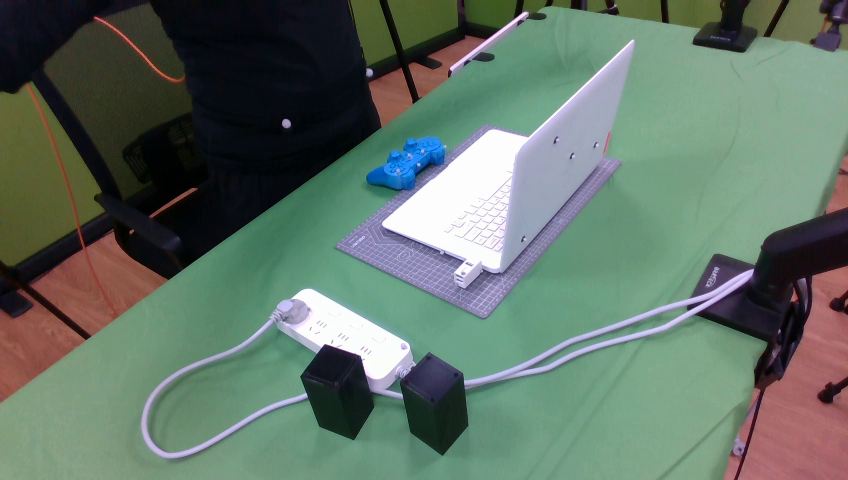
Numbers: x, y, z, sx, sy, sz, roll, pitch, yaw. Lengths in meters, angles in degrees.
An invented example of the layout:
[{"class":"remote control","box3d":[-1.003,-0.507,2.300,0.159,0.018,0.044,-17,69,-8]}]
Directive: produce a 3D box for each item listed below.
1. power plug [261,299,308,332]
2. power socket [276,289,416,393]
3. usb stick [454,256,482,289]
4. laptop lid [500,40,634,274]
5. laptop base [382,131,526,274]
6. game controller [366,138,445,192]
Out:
[{"class":"power plug","box3d":[-0.193,0.109,0.830,0.073,0.053,0.035,-35,47,-23]},{"class":"power socket","box3d":[-0.114,0.132,0.821,0.225,0.033,0.072,24,48,32]},{"class":"usb stick","box3d":[0.069,0.044,0.891,0.021,0.027,0.059,23,44,32]},{"class":"laptop lid","box3d":[0.218,-0.128,0.906,0.013,0.242,0.358,28,50,25]},{"class":"laptop base","box3d":[0.123,-0.081,1.049,0.233,0.023,0.355,20,47,33]},{"class":"game controller","box3d":[-0.030,-0.147,1.128,0.096,0.052,0.155,24,50,30]}]
